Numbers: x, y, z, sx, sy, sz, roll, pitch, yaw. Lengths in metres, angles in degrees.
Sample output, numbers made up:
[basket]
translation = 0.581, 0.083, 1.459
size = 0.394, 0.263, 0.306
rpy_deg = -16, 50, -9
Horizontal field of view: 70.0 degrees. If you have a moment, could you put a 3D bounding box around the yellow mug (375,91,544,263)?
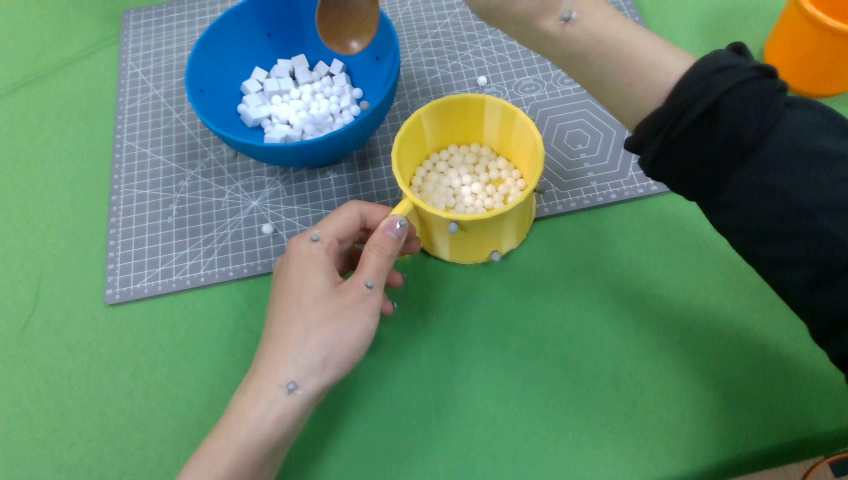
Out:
[yellow mug]
translation = 0.018, -0.033, 0.412
size = 0.131, 0.064, 0.099
rpy_deg = -41, 67, -15

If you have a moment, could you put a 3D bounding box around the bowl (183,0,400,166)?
[bowl]
translation = -0.089, -0.108, 0.451
size = 0.151, 0.077, 0.150
rpy_deg = -1, 62, 3

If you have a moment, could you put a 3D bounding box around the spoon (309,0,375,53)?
[spoon]
translation = -0.028, -0.175, 0.335
size = 0.042, 0.194, 0.021
rpy_deg = 19, 61, -14
